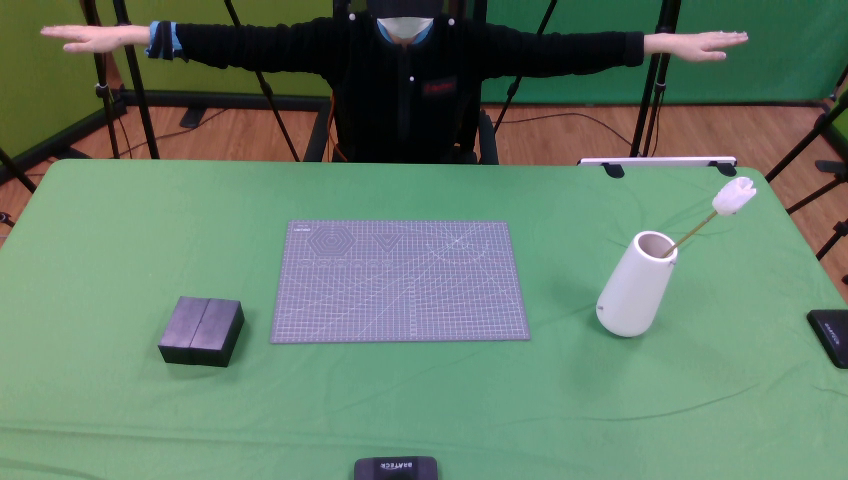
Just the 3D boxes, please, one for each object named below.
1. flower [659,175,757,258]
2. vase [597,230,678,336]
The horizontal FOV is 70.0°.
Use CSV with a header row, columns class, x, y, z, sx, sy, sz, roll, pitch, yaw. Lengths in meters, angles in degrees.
class,x,y,z,sx,sy,sz,roll,pitch,yaw
flower,0.385,0.024,0.965,0.038,0.363,0.044,38,47,7
vase,0.360,0.077,1.026,0.098,0.201,0.097,1,47,-1
